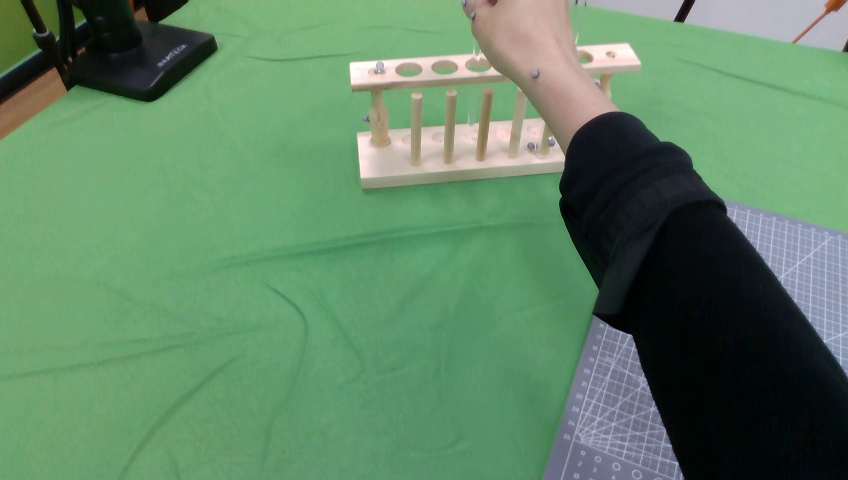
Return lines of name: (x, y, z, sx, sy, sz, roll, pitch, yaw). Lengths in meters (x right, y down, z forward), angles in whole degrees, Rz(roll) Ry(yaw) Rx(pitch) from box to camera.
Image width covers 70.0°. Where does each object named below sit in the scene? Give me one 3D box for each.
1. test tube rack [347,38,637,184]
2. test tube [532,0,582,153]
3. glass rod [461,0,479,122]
test tube rack: (0.059, -0.112, 0.526, 0.243, 0.086, 0.066, -6, 48, -5)
test tube: (0.106, -0.133, 0.485, 0.017, 0.151, 0.017, 1, 46, -1)
glass rod: (0.038, -0.168, 0.471, 0.008, 0.201, 0.008, 1, 53, -1)
